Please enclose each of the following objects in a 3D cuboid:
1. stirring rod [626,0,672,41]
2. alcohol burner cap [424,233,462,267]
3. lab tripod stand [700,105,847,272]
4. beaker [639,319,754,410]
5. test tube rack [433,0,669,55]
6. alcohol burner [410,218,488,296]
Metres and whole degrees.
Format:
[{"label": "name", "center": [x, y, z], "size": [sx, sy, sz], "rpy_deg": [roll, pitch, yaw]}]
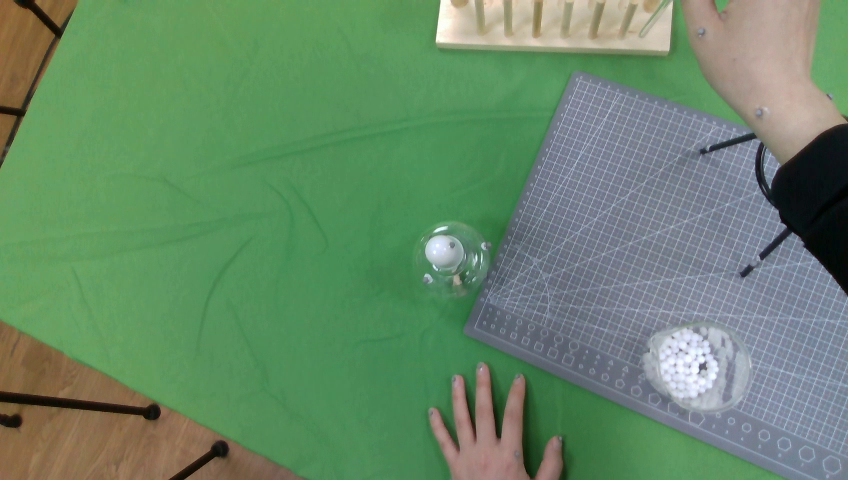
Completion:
[{"label": "stirring rod", "center": [0.173, -0.179, 0.409], "size": [0.014, 0.176, 0.006], "rpy_deg": [25, 81, 3]}, {"label": "alcohol burner cap", "center": [0.015, 0.008, 0.548], "size": [0.034, 0.048, 0.034], "rpy_deg": [-1, 86, 11]}, {"label": "lab tripod stand", "center": [0.313, -0.048, 0.527], "size": [0.148, 0.132, 0.148], "rpy_deg": [-1, 84, 9]}, {"label": "beaker", "center": [0.233, 0.106, 0.539], "size": [0.083, 0.101, 0.074], "rpy_deg": [29, 88, 13]}, {"label": "test tube rack", "center": [0.126, -0.240, 0.611], "size": [0.242, 0.085, 0.066], "rpy_deg": [5, 83, 10]}, {"label": "alcohol burner", "center": [0.022, 0.014, 0.583], "size": [0.078, 0.119, 0.077], "rpy_deg": [-1, 80, 8]}]
